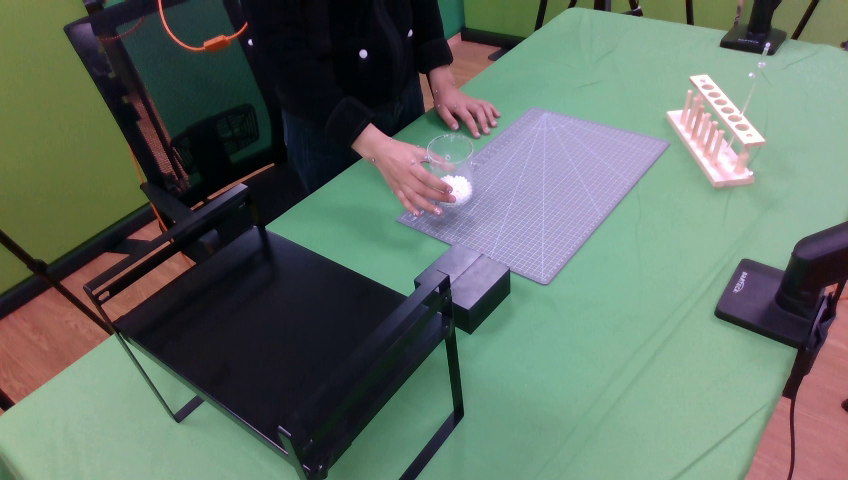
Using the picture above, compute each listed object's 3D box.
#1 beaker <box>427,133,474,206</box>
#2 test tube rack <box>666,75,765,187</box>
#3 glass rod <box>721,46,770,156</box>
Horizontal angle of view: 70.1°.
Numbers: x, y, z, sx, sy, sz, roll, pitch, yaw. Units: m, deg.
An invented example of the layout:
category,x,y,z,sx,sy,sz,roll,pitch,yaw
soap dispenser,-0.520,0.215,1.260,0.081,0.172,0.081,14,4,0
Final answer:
category,x,y,z,sx,sy,sz,roll,pitch,yaw
beaker,0.045,-0.113,0.979,0.074,0.101,0.083,0,48,5
test tube rack,0.512,-0.201,1.082,0.067,0.085,0.241,-6,41,2
glass rod,0.532,-0.225,1.006,0.008,0.200,0.008,1,41,-1
